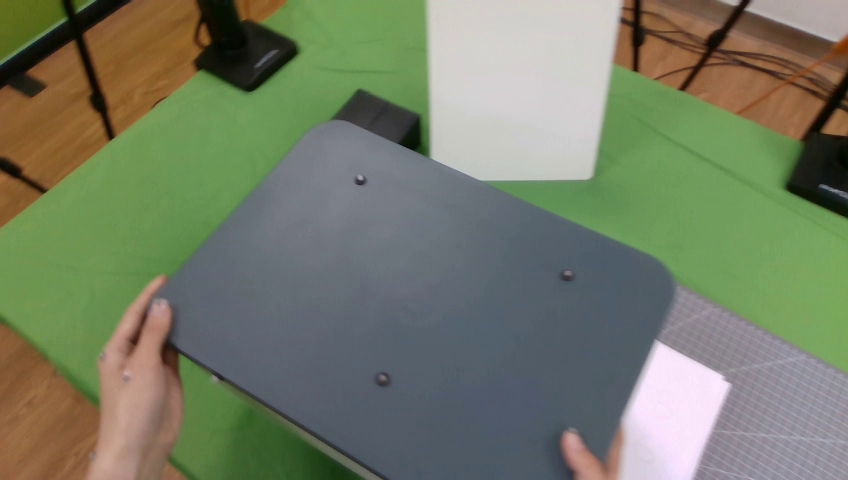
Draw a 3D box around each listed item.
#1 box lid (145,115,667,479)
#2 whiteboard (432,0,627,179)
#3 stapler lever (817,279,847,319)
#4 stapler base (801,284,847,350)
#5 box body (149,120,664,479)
[{"bbox_3d":[-0.013,0.043,0.497,0.370,0.015,0.262,26,62,14],"label":"box lid"},{"bbox_3d":[0.119,-0.246,0.773,0.217,0.308,0.142,0,38,1],"label":"whiteboard"},{"bbox_3d":[0.484,0.088,0.652,0.027,0.040,0.117,-23,60,-14],"label":"stapler lever"},{"bbox_3d":[0.486,0.103,0.674,0.041,0.024,0.129,-23,61,-15],"label":"stapler base"},{"bbox_3d":[-0.010,0.083,0.561,0.362,0.162,0.253,26,63,15],"label":"box body"}]
